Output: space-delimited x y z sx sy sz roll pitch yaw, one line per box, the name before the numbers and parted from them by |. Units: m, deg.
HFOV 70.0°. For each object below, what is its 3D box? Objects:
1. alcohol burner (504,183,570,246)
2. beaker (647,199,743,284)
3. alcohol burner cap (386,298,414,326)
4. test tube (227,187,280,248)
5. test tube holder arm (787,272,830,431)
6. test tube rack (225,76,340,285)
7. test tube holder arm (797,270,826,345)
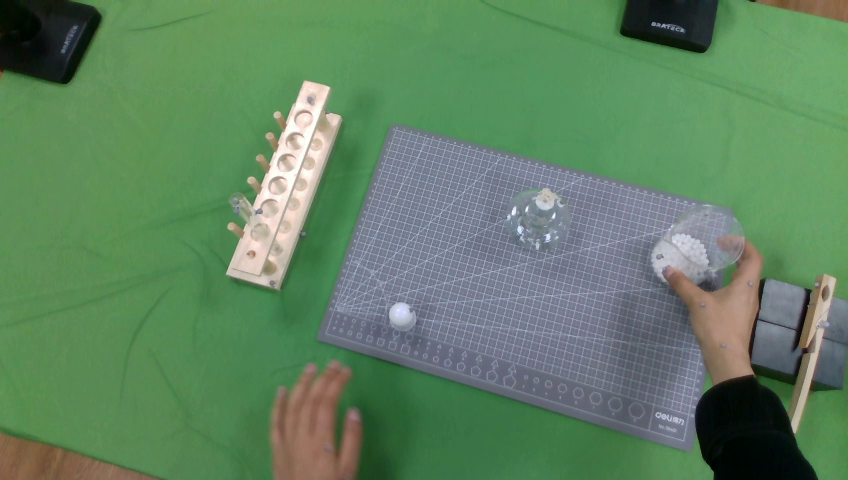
alcohol burner | 0.132 -0.035 0.702 0.078 0.120 0.077 -1 74 4
beaker | 0.301 0.007 0.693 0.084 0.101 0.073 -1 71 2
alcohol burner cap | -0.029 0.082 0.712 0.034 0.048 0.033 0 76 1
test tube | -0.186 -0.021 0.673 0.017 0.151 0.017 -1 70 2
test tube holder arm | 0.418 0.119 0.657 0.013 0.015 0.177 16 77 8
test tube rack | -0.179 -0.076 0.739 0.066 0.085 0.241 16 76 6
test tube holder arm | 0.427 0.076 0.667 0.010 0.015 0.087 18 77 8
